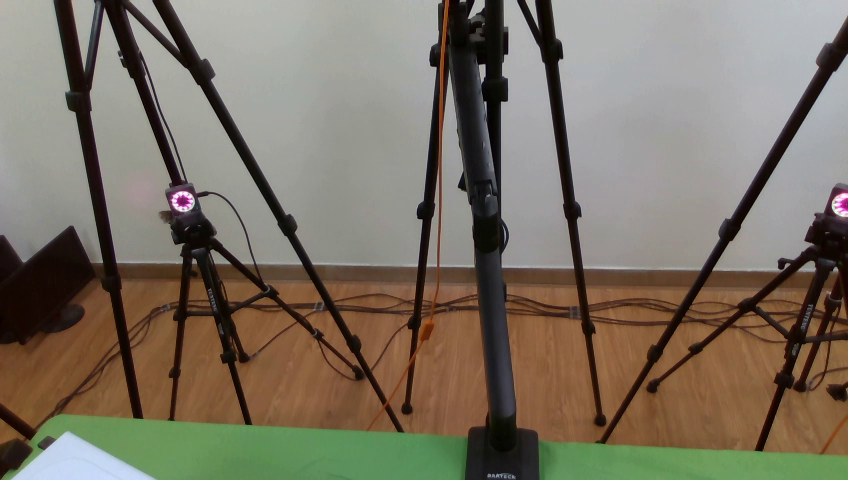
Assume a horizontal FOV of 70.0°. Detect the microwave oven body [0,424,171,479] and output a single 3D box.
[{"bbox_3d":[-0.452,0.491,0.681,0.324,0.262,0.440,14,41,24],"label":"microwave oven body"}]
